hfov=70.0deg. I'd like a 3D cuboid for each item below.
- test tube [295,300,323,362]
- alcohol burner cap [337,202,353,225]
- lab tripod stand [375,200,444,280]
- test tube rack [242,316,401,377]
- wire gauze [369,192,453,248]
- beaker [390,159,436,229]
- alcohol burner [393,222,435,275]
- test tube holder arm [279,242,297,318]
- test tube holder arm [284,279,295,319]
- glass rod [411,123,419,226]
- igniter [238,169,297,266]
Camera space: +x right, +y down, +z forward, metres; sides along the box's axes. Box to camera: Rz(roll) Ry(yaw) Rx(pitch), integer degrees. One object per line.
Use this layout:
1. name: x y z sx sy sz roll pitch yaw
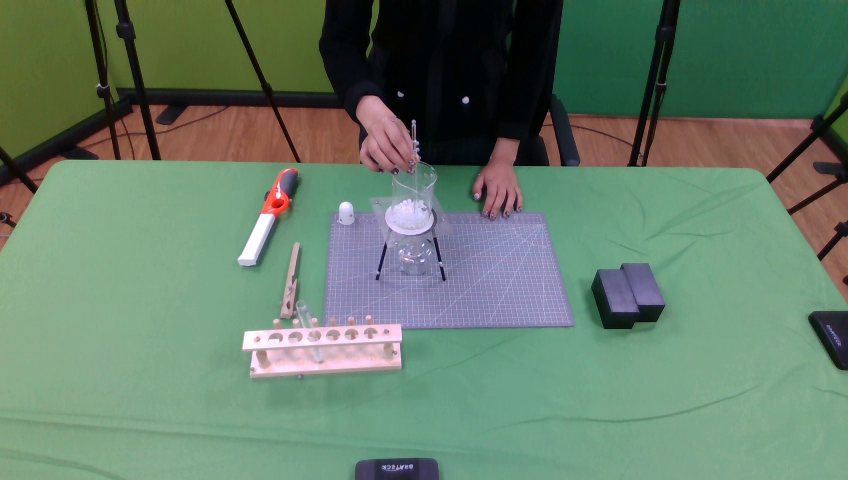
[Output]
1. test tube: -0.176 0.143 0.935 0.017 0.151 0.017 -2 46 2
2. alcohol burner cap: -0.161 -0.056 1.223 0.034 0.048 0.033 2 46 -2
3. lab tripod stand: -0.023 0.004 1.114 0.148 0.132 0.147 4 45 -3
4. test tube rack: -0.160 0.166 0.983 0.242 0.085 0.066 -2 46 -6
5. wire gauze: -0.025 -0.041 1.065 0.122 0.011 0.124 -10 46 -18
6. beaker: -0.020 -0.073 1.029 0.074 0.101 0.083 -10 48 -16
7. alcohol burner: -0.018 0.009 1.123 0.078 0.119 0.077 3 47 -3
8. test tube holder arm: -0.248 0.069 1.114 0.013 0.015 0.177 25 38 -27
9. test tube holder arm: -0.241 0.103 1.085 0.010 0.015 0.087 26 38 -26
10. glass rod: -0.013 -0.100 0.977 0.008 0.201 0.008 -1 41 1
11. igniter: -0.313 -0.054 1.224 0.057 0.025 0.275 1 45 10
